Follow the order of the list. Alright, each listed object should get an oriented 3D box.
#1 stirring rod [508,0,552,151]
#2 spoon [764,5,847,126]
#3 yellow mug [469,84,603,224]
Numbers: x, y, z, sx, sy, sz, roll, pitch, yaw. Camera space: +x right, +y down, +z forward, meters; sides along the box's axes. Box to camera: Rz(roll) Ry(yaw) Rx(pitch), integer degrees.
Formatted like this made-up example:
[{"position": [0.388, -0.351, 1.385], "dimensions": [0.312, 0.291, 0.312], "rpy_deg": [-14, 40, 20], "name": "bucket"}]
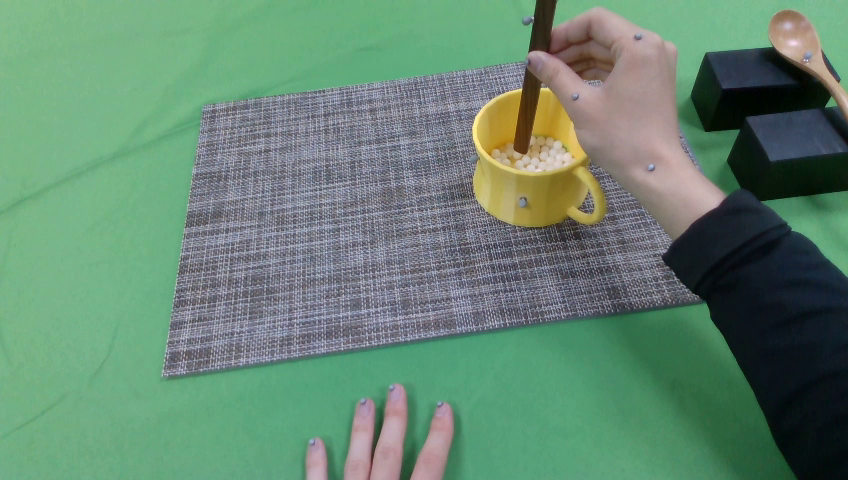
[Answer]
[{"position": [0.078, -0.128, 0.446], "dimensions": [0.014, 0.177, 0.006], "rpy_deg": [24, 60, 15], "name": "stirring rod"}, {"position": [0.328, -0.122, 0.490], "dimensions": [0.041, 0.022, 0.192], "rpy_deg": [-8, 56, -1], "name": "spoon"}, {"position": [0.097, -0.062, 0.496], "dimensions": [0.100, 0.064, 0.129], "rpy_deg": [-34, 59, -18], "name": "yellow mug"}]
